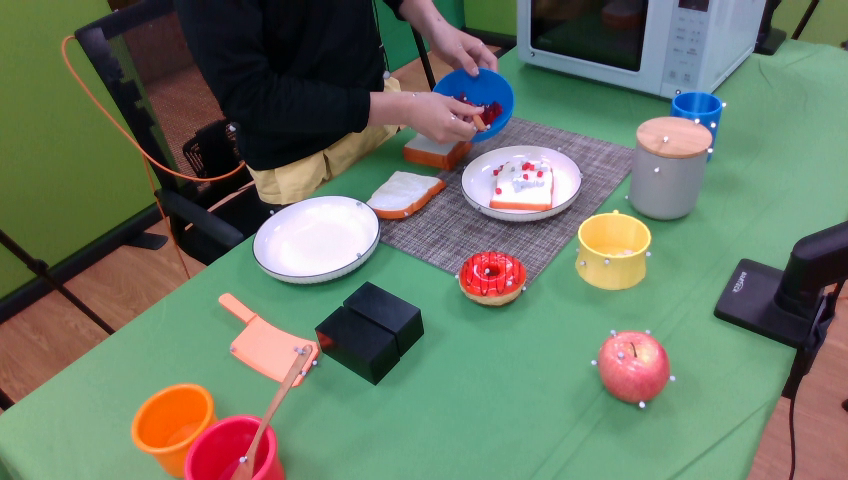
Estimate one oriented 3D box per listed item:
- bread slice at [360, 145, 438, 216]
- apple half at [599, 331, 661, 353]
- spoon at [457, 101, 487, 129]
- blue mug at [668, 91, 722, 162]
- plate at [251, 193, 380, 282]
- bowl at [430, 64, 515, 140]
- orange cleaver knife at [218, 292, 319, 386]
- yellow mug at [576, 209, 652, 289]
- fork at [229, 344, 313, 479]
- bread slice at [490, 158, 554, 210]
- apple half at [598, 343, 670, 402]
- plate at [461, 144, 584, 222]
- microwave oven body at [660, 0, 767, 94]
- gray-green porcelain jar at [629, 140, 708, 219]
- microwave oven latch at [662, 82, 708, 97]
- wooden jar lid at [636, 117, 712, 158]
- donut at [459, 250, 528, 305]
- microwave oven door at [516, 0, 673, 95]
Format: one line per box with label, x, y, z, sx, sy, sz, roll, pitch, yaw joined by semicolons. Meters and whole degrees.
bread slice;-0.053;-0.103;1.046;0.106;0.018;0.134;19;67;22
apple half;0.249;0.134;0.738;0.081;0.081;0.032;-1;46;7
spoon;0.084;-0.213;1.023;0.042;0.022;0.193;-4;20;-2
blue mug;0.474;-0.207;1.079;0.082;0.106;0.116;4;42;13
plate;-0.174;-0.001;0.984;0.209;0.038;0.208;-4;40;3
bowl;0.088;-0.234;1.095;0.151;0.077;0.150;-1;64;3
orange cleaver knife;-0.235;0.136;0.850;0.209;0.012;0.077;25;56;30
yellow mug;0.279;0.004;0.893;0.099;0.064;0.130;5;42;14
fork;-0.173;0.205;0.662;0.028;0.019;0.207;29;94;35
bread slice;0.173;-0.099;1.048;0.104;0.019;0.131;4;44;12
apple half;0.247;0.161;0.710;0.081;0.075;0.053;2;47;5
plate;0.167;-0.095;1.040;0.207;0.039;0.206;-4;40;4
microwave oven body;0.473;-0.516;1.313;0.438;0.261;0.327;26;51;34
gray-green porcelain jar;0.383;-0.105;0.958;0.106;0.127;0.105;-4;41;4
microwave oven latch;0.518;-0.298;1.202;0.078;0.029;0.030;28;53;35
wooden jar lid;0.377;-0.151;0.917;0.108;0.021;0.108;-2;41;3
donut;0.100;0.053;0.872;0.099;0.048;0.098;-5;40;4
microwave oven door;0.344;-0.458;1.256;0.353;0.245;0.039;26;51;33
